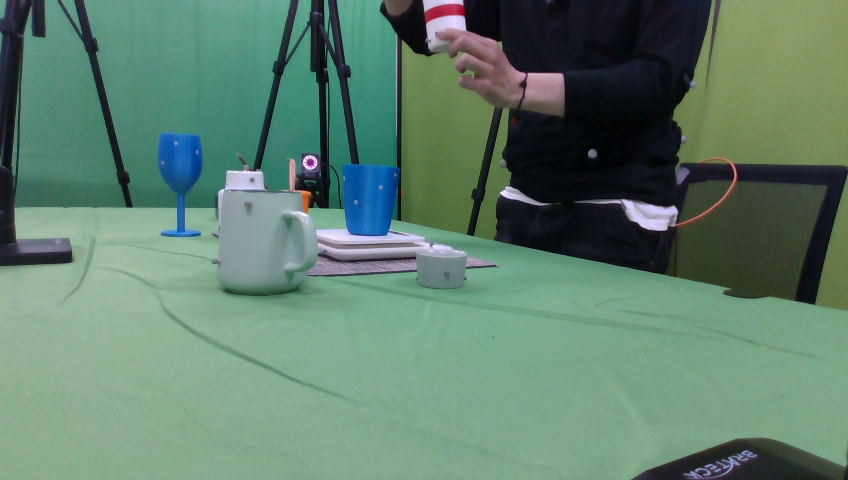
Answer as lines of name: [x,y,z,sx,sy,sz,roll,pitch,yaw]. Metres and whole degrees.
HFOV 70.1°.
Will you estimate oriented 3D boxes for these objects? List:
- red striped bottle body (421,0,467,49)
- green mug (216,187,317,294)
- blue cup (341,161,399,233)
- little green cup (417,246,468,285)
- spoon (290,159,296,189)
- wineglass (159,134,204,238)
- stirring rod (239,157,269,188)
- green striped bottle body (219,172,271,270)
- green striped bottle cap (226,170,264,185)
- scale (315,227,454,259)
red striped bottle body: [0.028,-0.363,0.938,0.063,0.119,0.063,-8,5,1]
green mug: [-0.157,0.000,0.629,0.124,0.105,0.093,7,9,37]
blue cup: [-0.080,-0.062,0.883,0.093,0.100,0.092,2,4,0]
little green cup: [0.021,0.029,0.701,0.061,0.038,0.061,1,6,0]
spoon: [-0.273,-0.102,1.252,0.042,0.193,0.021,7,-39,-17]
wineglass: [-0.415,-0.093,1.040,0.074,0.172,0.073,2,7,0]
stirring rod: [-0.309,-0.098,1.209,0.006,0.177,0.014,-39,29,-4]
green striped bottle body: [-0.223,-0.025,0.755,0.063,0.119,0.063,2,7,0]
green striped bottle cap: [-0.222,-0.077,0.748,0.044,0.020,0.044,0,7,0]
scale: [-0.066,0.001,0.906,0.202,0.031,0.148,-2,8,-31]
